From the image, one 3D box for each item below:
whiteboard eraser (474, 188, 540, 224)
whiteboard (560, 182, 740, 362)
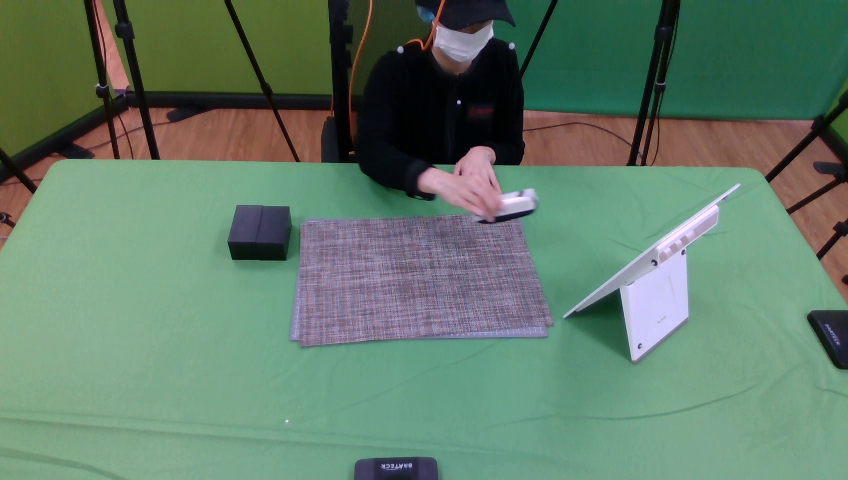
[{"bbox_3d":[0.148,-0.058,1.080,0.112,0.042,0.055,-11,24,22],"label":"whiteboard eraser"},{"bbox_3d":[0.406,0.075,1.001,0.217,0.306,0.143,-28,73,-28],"label":"whiteboard"}]
